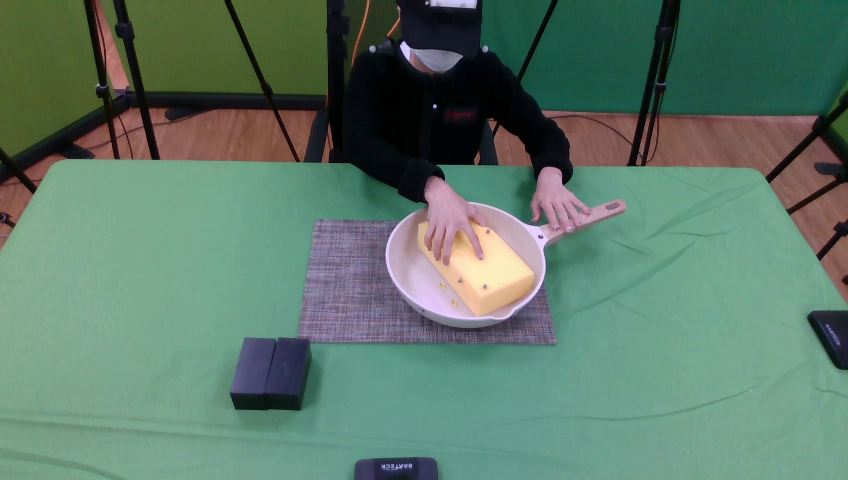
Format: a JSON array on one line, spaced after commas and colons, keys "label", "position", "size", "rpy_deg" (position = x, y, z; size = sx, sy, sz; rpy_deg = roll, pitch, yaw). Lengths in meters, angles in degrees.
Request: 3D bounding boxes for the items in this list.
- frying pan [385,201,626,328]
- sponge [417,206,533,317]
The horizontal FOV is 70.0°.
[{"label": "frying pan", "position": [0.169, 0.013, 1.137], "size": [0.488, 0.103, 0.304], "rpy_deg": [-19, 51, -11]}, {"label": "sponge", "position": [0.089, 0.035, 1.124], "size": [0.118, 0.061, 0.205], "rpy_deg": [-23, 52, -24]}]
